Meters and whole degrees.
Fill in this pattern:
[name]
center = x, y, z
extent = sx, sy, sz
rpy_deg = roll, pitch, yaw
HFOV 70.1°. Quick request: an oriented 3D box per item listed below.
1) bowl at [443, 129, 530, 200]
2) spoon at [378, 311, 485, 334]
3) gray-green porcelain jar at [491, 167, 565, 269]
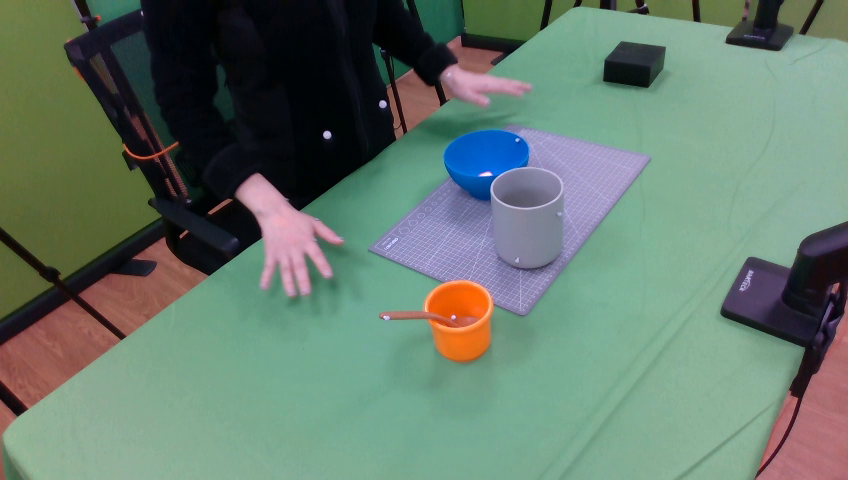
[bowl]
center = 0.113, -0.123, 1.062
extent = 0.151, 0.077, 0.150
rpy_deg = -6, 40, 5
[spoon]
center = 0.012, 0.101, 0.766
extent = 0.041, 0.195, 0.021
rpy_deg = 33, 100, 41
[gray-green porcelain jar]
center = 0.157, -0.029, 0.904
extent = 0.106, 0.127, 0.105
rpy_deg = -6, 40, 5
